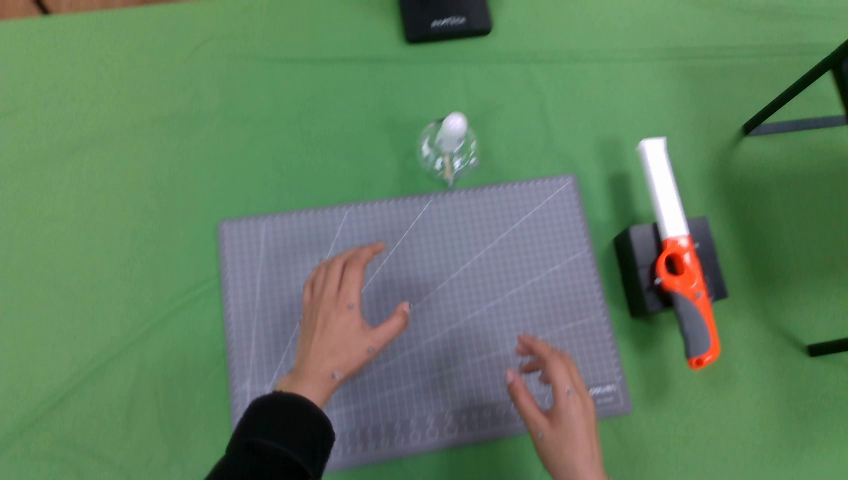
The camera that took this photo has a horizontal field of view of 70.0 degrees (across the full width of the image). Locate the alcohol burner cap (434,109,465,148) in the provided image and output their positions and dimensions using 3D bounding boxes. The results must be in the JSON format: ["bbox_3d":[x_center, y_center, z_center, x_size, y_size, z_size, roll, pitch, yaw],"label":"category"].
[{"bbox_3d":[0.030,-0.130,0.691,0.034,0.048,0.033,2,73,-7],"label":"alcohol burner cap"}]

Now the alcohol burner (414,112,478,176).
[{"bbox_3d":[0.029,-0.122,0.720,0.078,0.119,0.077,2,75,-7],"label":"alcohol burner"}]

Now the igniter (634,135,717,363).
[{"bbox_3d":[0.292,0.004,0.707,0.057,0.025,0.274,-5,72,-6],"label":"igniter"}]
